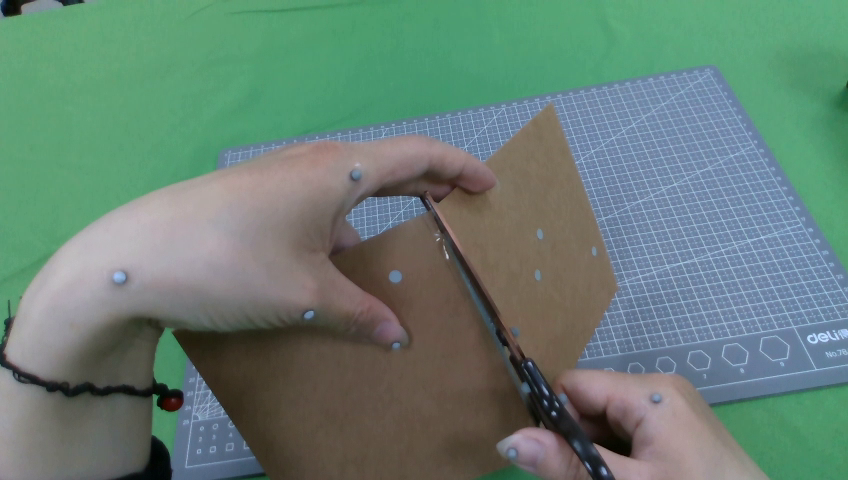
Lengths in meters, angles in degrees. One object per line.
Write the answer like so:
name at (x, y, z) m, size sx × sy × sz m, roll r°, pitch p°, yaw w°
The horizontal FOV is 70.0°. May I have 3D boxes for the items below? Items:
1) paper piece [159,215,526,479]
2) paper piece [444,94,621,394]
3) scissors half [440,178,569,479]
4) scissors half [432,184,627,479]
paper piece at (-0.031, 0.074, 0.297) m, size 0.138 × 0.137 × 0.008 m, roll -27°, pitch 17°, yaw 2°
paper piece at (0.071, 0.007, 0.332) m, size 0.004 × 0.136 × 0.135 m, roll -3°, pitch 30°, yaw 41°
scissors half at (0.041, 0.052, 0.284) m, size 0.013 × 0.176 × 0.040 m, roll -25°, pitch 14°, yaw -13°
scissors half at (0.046, 0.050, 0.263) m, size 0.013 × 0.040 × 0.174 m, roll -26°, pitch 79°, yaw -18°
